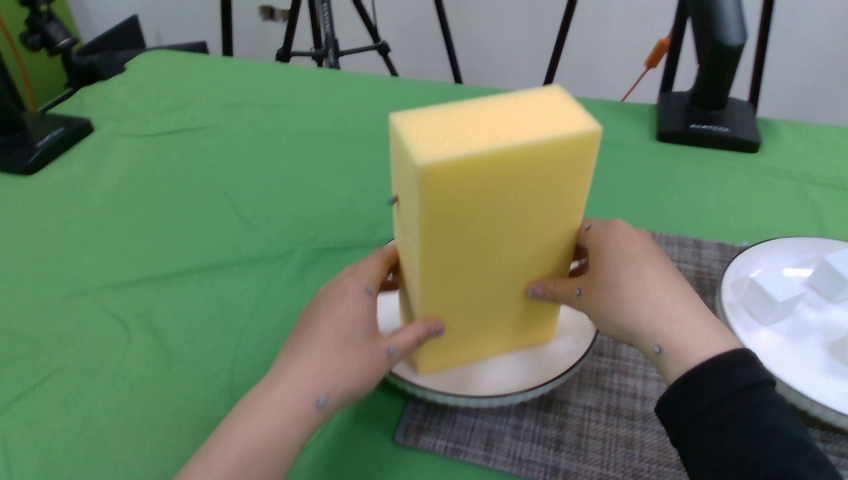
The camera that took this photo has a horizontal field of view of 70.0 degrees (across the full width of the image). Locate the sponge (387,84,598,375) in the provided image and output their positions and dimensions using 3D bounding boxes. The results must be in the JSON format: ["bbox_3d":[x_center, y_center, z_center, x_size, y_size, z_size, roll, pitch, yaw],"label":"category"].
[{"bbox_3d":[0.039,0.002,0.436,0.118,0.208,0.060,-12,45,-14],"label":"sponge"}]

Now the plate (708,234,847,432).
[{"bbox_3d":[0.335,0.075,0.487,0.208,0.039,0.205,-1,40,1],"label":"plate"}]

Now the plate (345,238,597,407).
[{"bbox_3d":[0.039,0.058,0.514,0.209,0.038,0.207,0,40,1],"label":"plate"}]
